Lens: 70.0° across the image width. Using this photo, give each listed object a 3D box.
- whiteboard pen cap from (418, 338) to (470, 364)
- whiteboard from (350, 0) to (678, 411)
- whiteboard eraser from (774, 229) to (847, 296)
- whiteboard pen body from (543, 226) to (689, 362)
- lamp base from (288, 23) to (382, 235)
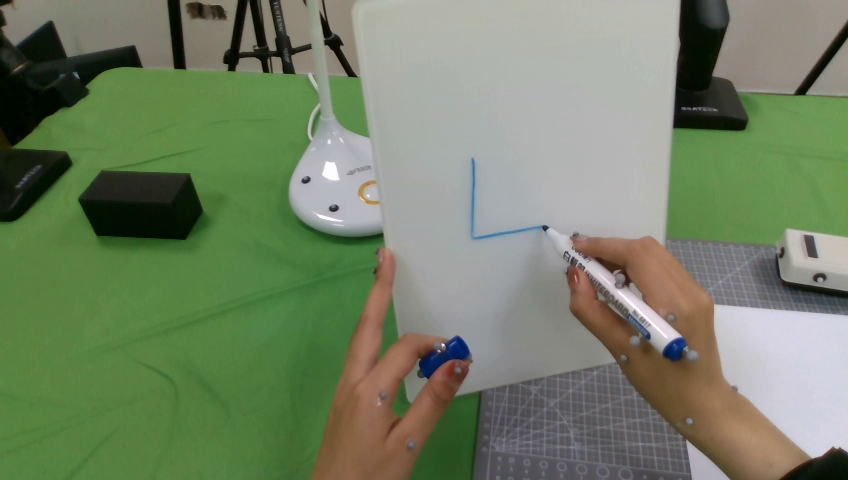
[{"bbox_3d":[0.014,0.073,0.396,0.033,0.018,0.018,-5,35,36],"label":"whiteboard pen cap"},{"bbox_3d":[0.066,-0.047,0.497,0.217,0.307,0.142,-10,24,-7],"label":"whiteboard"},{"bbox_3d":[0.384,0.025,0.553,0.112,0.042,0.055,9,42,13],"label":"whiteboard eraser"},{"bbox_3d":[0.117,0.028,0.393,0.017,0.017,0.139,-18,40,-17],"label":"whiteboard pen body"},{"bbox_3d":[-0.083,-0.124,0.637,0.161,0.182,0.177,-30,47,-27],"label":"lamp base"}]
